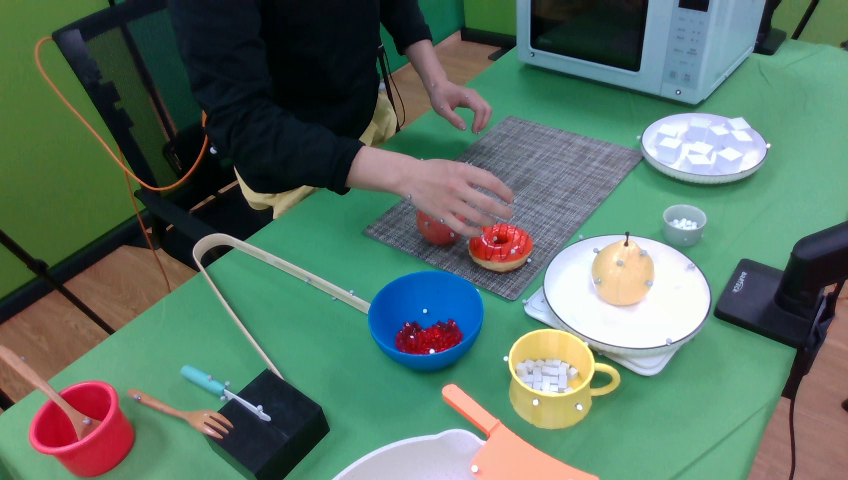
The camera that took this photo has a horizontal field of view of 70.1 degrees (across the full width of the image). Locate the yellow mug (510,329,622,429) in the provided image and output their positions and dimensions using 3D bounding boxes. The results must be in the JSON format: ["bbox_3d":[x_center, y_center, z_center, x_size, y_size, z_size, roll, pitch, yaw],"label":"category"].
[{"bbox_3d":[0.168,0.164,0.721,0.130,0.064,0.099,0,40,8],"label":"yellow mug"}]

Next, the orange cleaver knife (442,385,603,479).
[{"bbox_3d":[0.086,0.219,0.612,0.209,0.012,0.077,28,49,35],"label":"orange cleaver knife"}]

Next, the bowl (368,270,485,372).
[{"bbox_3d":[0.007,0.118,0.791,0.151,0.077,0.150,-5,40,4],"label":"bowl"}]

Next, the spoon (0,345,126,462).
[{"bbox_3d":[-0.434,0.192,0.720,0.194,0.021,0.042,47,53,-6],"label":"spoon"}]

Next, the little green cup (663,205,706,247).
[{"bbox_3d":[0.396,-0.020,0.926,0.061,0.039,0.061,-4,40,4],"label":"little green cup"}]

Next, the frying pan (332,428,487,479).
[{"bbox_3d":[-0.089,0.306,0.564,0.487,0.103,0.306,9,41,7],"label":"frying pan"}]

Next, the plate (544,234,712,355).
[{"bbox_3d":[0.262,0.072,0.792,0.209,0.038,0.208,-4,41,4],"label":"plate"}]

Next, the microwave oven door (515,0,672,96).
[{"bbox_3d":[0.343,-0.455,1.259,0.353,0.245,0.039,26,51,33],"label":"microwave oven door"}]

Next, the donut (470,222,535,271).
[{"bbox_3d":[0.119,0.009,0.923,0.099,0.048,0.098,-4,38,4],"label":"donut"}]

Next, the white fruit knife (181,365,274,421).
[{"bbox_3d":[-0.246,0.188,0.747,0.205,0.027,0.016,9,41,41],"label":"white fruit knife"}]

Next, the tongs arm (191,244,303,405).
[{"bbox_3d":[-0.268,0.111,0.883,0.028,0.028,0.384,-36,47,-18],"label":"tongs arm"}]

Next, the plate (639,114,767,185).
[{"bbox_3d":[0.489,-0.157,1.074,0.207,0.039,0.206,-4,40,4],"label":"plate"}]

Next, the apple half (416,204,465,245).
[{"bbox_3d":[0.027,-0.017,0.943,0.081,0.081,0.032,-4,37,4],"label":"apple half"}]

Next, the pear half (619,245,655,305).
[{"bbox_3d":[0.275,0.047,0.766,0.031,0.088,0.070,20,46,30],"label":"pear half"}]

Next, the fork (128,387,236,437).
[{"bbox_3d":[-0.305,0.207,0.744,0.206,0.019,0.028,3,41,36],"label":"fork"}]

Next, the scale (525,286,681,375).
[{"bbox_3d":[0.254,0.091,0.821,0.199,0.032,0.149,27,51,35],"label":"scale"}]

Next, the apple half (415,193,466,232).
[{"bbox_3d":[0.027,-0.042,0.974,0.081,0.075,0.053,-5,37,8],"label":"apple half"}]

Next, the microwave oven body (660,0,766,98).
[{"bbox_3d":[0.472,-0.513,1.317,0.438,0.261,0.327,26,51,34],"label":"microwave oven body"}]

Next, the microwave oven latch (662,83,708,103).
[{"bbox_3d":[0.517,-0.296,1.204,0.078,0.029,0.030,27,52,35],"label":"microwave oven latch"}]

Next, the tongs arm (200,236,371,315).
[{"bbox_3d":[-0.209,0.062,0.924,0.381,0.026,0.051,23,53,32],"label":"tongs arm"}]

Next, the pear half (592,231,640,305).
[{"bbox_3d":[0.247,0.027,0.778,0.055,0.110,0.076,21,45,30],"label":"pear half"}]
